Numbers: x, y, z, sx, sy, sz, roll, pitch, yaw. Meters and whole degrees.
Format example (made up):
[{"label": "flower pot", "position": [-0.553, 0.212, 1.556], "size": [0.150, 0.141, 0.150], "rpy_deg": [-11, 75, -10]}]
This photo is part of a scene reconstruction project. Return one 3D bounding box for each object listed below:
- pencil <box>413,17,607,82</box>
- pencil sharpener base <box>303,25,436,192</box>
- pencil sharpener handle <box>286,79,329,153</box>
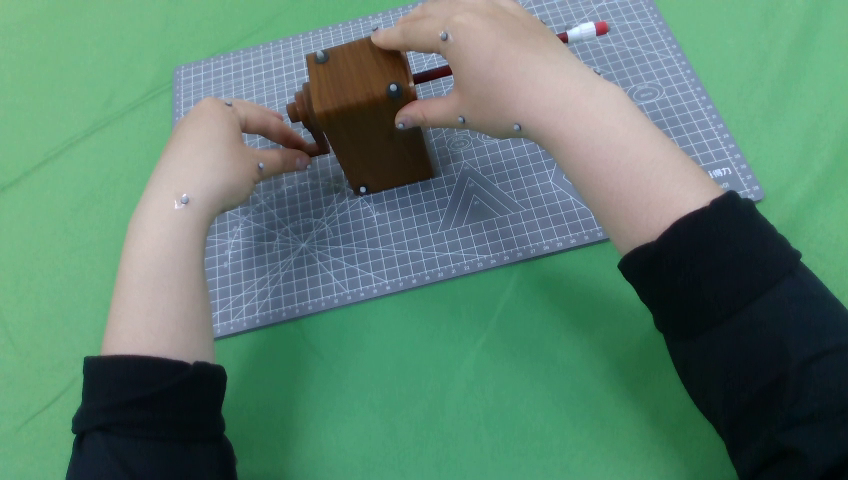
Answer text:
[{"label": "pencil", "position": [0.034, -0.127, 0.428], "size": [0.194, 0.012, 0.012], "rpy_deg": [-15, 60, 3]}, {"label": "pencil sharpener base", "position": [-0.040, -0.094, 0.456], "size": [0.077, 0.108, 0.061], "rpy_deg": [-16, 60, 2]}, {"label": "pencil sharpener handle", "position": [-0.091, -0.087, 0.448], "size": [0.030, 0.068, 0.035], "rpy_deg": [-16, 66, 2]}]
